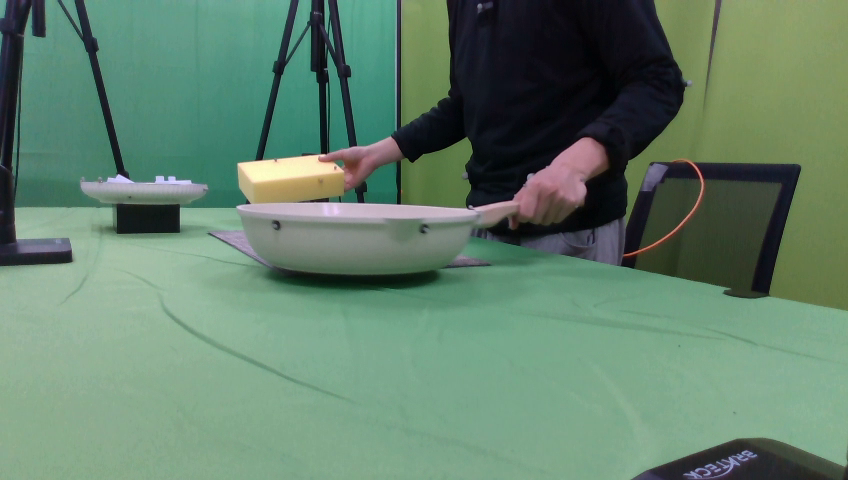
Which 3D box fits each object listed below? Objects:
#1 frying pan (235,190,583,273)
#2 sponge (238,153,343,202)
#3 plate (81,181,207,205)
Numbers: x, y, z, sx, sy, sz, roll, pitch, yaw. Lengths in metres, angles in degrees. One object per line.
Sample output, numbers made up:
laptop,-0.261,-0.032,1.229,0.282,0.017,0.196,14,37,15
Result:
frying pan,0.012,-0.029,0.797,0.490,0.102,0.305,-10,11,-22
sponge,-0.298,-0.139,1.353,0.208,0.061,0.117,-11,32,-30
plate,-0.505,-0.086,1.100,0.208,0.039,0.207,1,6,0
